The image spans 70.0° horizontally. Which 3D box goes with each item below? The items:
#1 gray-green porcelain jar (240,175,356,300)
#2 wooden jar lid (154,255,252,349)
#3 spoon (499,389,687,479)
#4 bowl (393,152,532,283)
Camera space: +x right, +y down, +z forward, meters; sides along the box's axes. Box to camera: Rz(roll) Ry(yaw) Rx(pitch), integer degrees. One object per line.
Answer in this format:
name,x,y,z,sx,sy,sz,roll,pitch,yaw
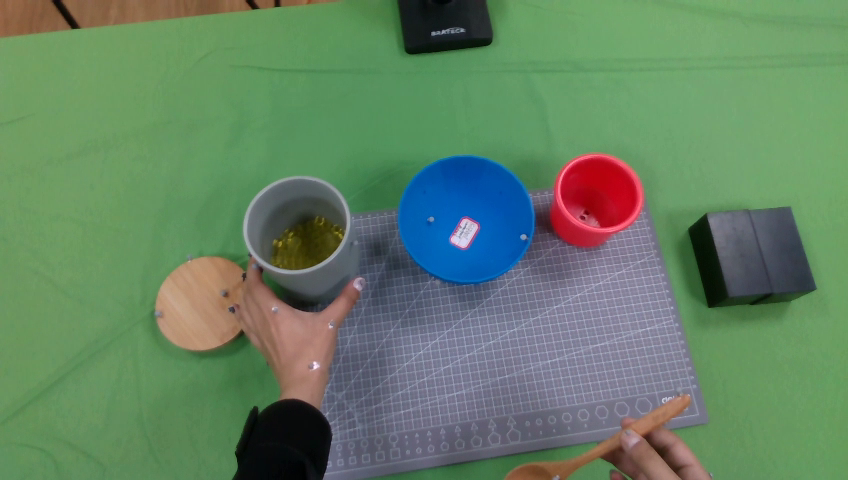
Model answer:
gray-green porcelain jar,-0.129,0.004,0.653,0.106,0.127,0.105,0,70,-1
wooden jar lid,-0.249,0.071,0.688,0.108,0.021,0.107,0,71,0
spoon,0.144,0.183,0.528,0.194,0.022,0.041,-39,75,24
bowl,0.041,-0.015,0.689,0.151,0.077,0.150,0,71,-1
